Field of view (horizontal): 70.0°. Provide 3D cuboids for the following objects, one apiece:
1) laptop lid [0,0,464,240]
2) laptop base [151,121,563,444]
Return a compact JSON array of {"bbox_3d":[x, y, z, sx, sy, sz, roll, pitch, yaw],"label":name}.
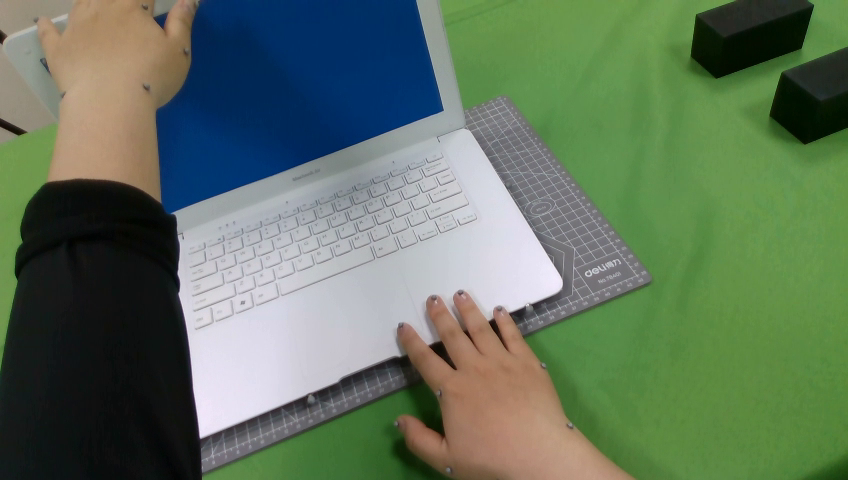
[{"bbox_3d":[-0.147,-0.143,0.560,0.357,0.244,0.013,-23,43,-2],"label":"laptop lid"},{"bbox_3d":[-0.080,0.022,0.565,0.354,0.023,0.233,-22,52,-3],"label":"laptop base"}]
